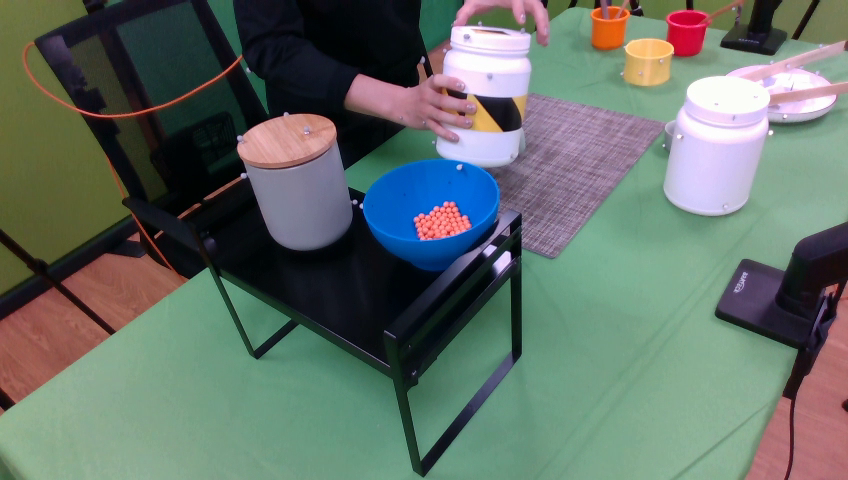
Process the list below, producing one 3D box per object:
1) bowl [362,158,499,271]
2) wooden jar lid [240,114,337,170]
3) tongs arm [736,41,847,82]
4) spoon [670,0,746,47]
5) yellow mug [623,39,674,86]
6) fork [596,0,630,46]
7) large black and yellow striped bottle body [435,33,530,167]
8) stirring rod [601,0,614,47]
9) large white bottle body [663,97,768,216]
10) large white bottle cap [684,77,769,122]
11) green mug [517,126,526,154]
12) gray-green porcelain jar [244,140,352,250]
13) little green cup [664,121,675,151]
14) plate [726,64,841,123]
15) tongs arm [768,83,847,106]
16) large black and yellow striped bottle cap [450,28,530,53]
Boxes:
[{"bbox_3d":[0.011,-0.019,0.679,0.151,0.077,0.150,-5,41,5],"label":"bowl"},{"bbox_3d":[-0.149,-0.106,0.673,0.108,0.021,0.108,-6,38,5],"label":"wooden jar lid"},{"bbox_3d":[0.712,-0.332,1.194,0.386,0.026,0.050,-19,45,-16],"label":"tongs arm"},{"bbox_3d":[0.629,-0.485,1.350,0.022,0.193,0.042,47,54,-7],"label":"spoon"},{"bbox_3d":[0.485,-0.398,1.334,0.100,0.064,0.130,-18,41,-11],"label":"yellow mug"},{"bbox_3d":[0.481,-0.556,1.452,0.028,0.019,0.207,40,103,38],"label":"fork"},{"bbox_3d":[0.088,-0.215,0.913,0.131,0.184,0.130,4,26,-2],"label":"large black and yellow striped bottle body"},{"bbox_3d":[0.439,-0.552,1.463,0.014,0.006,0.175,-7,83,3],"label":"stirring rod"},{"bbox_3d":[0.458,-0.146,0.952,0.130,0.185,0.130,-4,40,4],"label":"large white bottle body"},{"bbox_3d":[0.448,-0.210,0.898,0.115,0.018,0.114,-4,40,4],"label":"large white bottle cap"},{"bbox_3d":[0.144,-0.202,1.122,0.093,0.105,0.124,-29,45,-23],"label":"green mug"},{"bbox_3d":[-0.144,-0.060,0.714,0.106,0.127,0.105,-4,41,4],"label":"gray-green porcelain jar"},{"bbox_3d":[0.473,-0.188,1.113,0.061,0.039,0.061,-5,40,5],"label":"little green cup"},{"bbox_3d":[0.695,-0.282,1.189,0.207,0.039,0.206,-4,40,4],"label":"plate"},{"bbox_3d":[0.739,-0.281,1.134,0.388,0.028,0.028,-9,47,-5],"label":"tongs arm"},{"bbox_3d":[0.096,-0.290,0.876,0.115,0.019,0.114,3,26,-1],"label":"large black and yellow striped bottle cap"}]
